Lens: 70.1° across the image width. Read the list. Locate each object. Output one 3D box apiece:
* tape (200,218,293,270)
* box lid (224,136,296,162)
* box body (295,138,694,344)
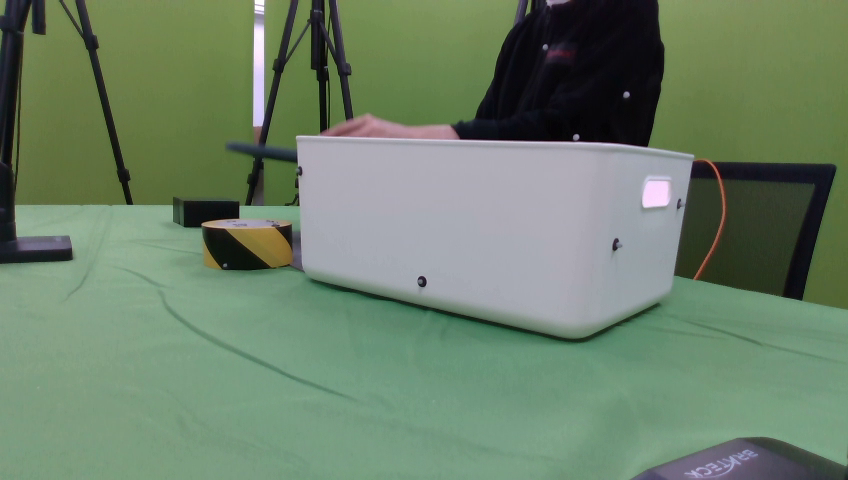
[{"bbox_3d":[-0.228,0.003,0.777,0.117,0.052,0.117,1,8,0],"label":"tape"},{"bbox_3d":[-0.173,-0.137,1.038,0.264,0.015,0.371,8,4,-7],"label":"box lid"},{"bbox_3d":[0.065,-0.020,0.653,0.362,0.160,0.255,9,9,36],"label":"box body"}]
